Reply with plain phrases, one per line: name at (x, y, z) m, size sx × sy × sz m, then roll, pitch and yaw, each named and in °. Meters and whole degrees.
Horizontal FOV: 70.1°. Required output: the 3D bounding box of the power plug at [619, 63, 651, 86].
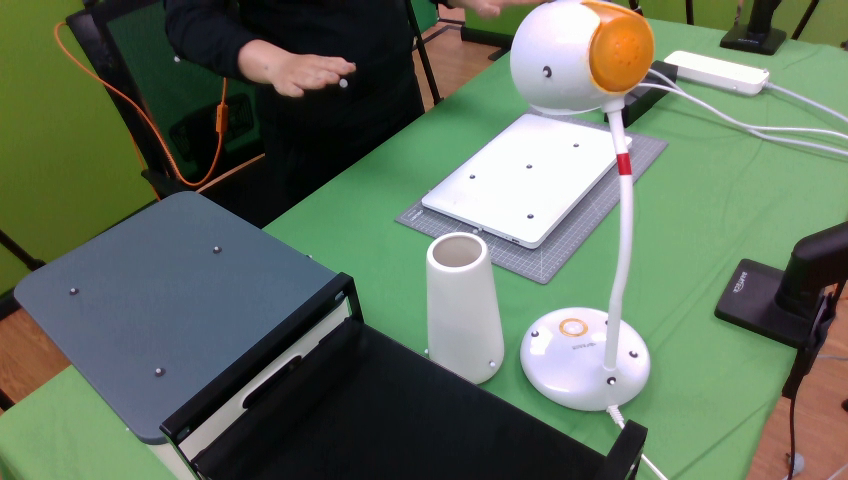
power plug at (0.435, -0.341, 1.266) m, size 0.035 × 0.053 × 0.072 m, roll 5°, pitch 31°, yaw -14°

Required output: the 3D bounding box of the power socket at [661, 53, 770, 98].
power socket at (0.616, -0.355, 1.292) m, size 0.225 × 0.033 × 0.072 m, roll 29°, pitch 53°, yaw 35°

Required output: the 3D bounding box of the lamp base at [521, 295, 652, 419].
lamp base at (0.200, 0.095, 0.710) m, size 0.161 × 0.181 × 0.178 m, roll -16°, pitch 43°, yaw -10°

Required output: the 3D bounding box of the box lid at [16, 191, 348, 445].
box lid at (-0.295, 0.062, 0.723) m, size 0.368 × 0.015 × 0.264 m, roll 26°, pitch 51°, yaw 34°

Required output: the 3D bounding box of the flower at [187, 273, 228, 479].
flower at (-0.282, 0.161, 0.819) m, size 0.044 × 0.038 × 0.359 m, roll 9°, pitch 34°, yaw -21°

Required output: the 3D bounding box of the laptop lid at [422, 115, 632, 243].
laptop lid at (0.189, -0.126, 1.081) m, size 0.239 × 0.013 × 0.358 m, roll 23°, pitch 48°, yaw 35°

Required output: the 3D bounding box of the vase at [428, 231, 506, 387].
vase at (0.050, 0.087, 0.728) m, size 0.098 × 0.201 × 0.097 m, roll -3°, pitch 40°, yaw 3°

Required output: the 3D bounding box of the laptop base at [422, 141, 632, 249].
laptop base at (0.192, -0.117, 1.087) m, size 0.233 × 0.023 × 0.355 m, roll 20°, pitch 47°, yaw 35°

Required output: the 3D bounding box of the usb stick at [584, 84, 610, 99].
usb stick at (0.353, -0.306, 1.252) m, size 0.027 × 0.021 × 0.058 m, roll -1°, pitch 0°, yaw -40°

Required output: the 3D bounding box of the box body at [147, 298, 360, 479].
box body at (-0.288, 0.118, 0.772) m, size 0.361 × 0.161 × 0.255 m, roll 26°, pitch 50°, yaw 33°

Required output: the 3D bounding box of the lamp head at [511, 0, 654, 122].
lamp head at (0.155, -0.168, 0.563) m, size 0.113 × 0.113 × 0.122 m, roll -18°, pitch 23°, yaw -12°
